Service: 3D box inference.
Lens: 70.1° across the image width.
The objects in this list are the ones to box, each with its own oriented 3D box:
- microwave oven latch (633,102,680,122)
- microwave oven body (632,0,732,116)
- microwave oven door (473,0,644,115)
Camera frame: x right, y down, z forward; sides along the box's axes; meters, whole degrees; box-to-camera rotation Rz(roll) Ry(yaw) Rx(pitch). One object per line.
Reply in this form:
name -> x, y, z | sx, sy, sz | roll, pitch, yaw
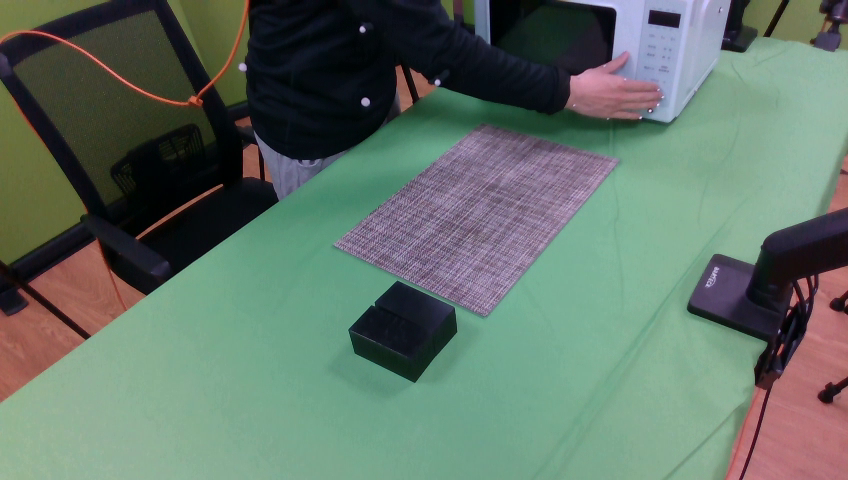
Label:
microwave oven latch -> 0.444, -0.250, 1.158 | 0.078, 0.029, 0.030 | 22, 49, 31
microwave oven body -> 0.377, -0.463, 1.267 | 0.438, 0.261, 0.327 | 21, 49, 30
microwave oven door -> 0.257, -0.396, 1.199 | 0.353, 0.245, 0.039 | 21, 48, 29
